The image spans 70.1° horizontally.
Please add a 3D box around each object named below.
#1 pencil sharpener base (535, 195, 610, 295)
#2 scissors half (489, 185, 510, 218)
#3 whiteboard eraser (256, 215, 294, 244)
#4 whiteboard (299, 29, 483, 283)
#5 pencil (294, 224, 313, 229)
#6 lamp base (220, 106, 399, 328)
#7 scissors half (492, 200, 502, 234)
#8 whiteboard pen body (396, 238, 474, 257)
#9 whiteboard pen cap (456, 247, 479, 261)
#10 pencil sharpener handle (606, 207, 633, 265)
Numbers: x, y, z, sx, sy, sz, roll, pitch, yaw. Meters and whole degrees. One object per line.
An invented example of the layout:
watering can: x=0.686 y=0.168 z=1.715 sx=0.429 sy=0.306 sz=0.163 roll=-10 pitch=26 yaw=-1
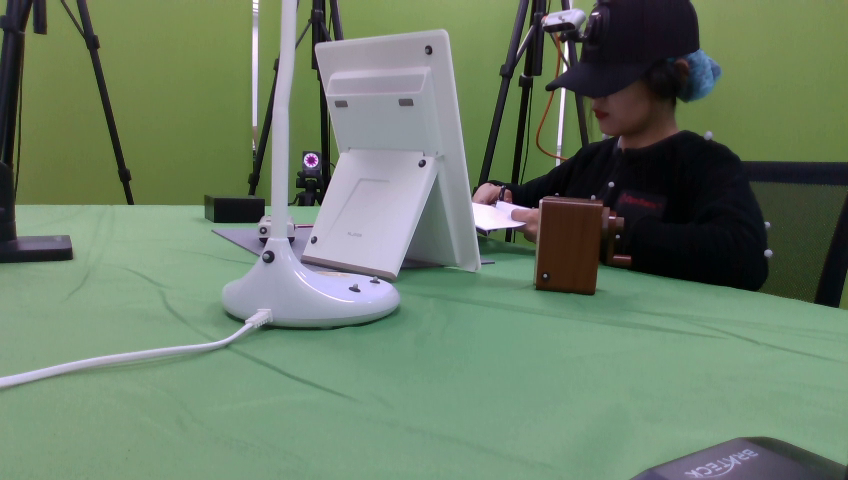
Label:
pencil sharpener base: x=0.172 y=0.005 z=0.695 sx=0.076 sy=0.107 sz=0.061 roll=5 pitch=7 yaw=16
scissors half: x=0.138 y=-0.069 z=1.120 sx=0.013 sy=0.040 sz=0.175 roll=12 pitch=23 yaw=14
whiteboard eraser: x=-0.232 y=-0.016 z=0.951 sx=0.056 sy=0.042 sz=0.112 roll=2 pitch=7 yaw=-12
whiteboard: x=-0.074 y=-0.082 z=0.741 sx=0.216 sy=0.305 sz=0.144 roll=9 pitch=30 yaw=38
pencil: x=-0.220 y=-0.028 z=1.210 sx=0.195 sy=0.012 sz=0.012 roll=-5 pitch=10 yaw=-34
lamp base: x=-0.101 y=-0.023 z=0.531 sx=0.160 sy=0.180 sz=0.179 roll=4 pitch=10 yaw=10
scissors half: x=0.132 y=-0.046 z=1.122 sx=0.013 sy=0.040 sz=0.175 roll=17 pitch=-13 yaw=13
whiteboard pen body: x=0.014 y=0.012 z=0.886 sx=0.140 sy=0.017 sz=0.017 roll=9 pitch=10 yaw=38
whiteboard pen cap: x=0.060 y=0.020 z=0.851 sx=0.033 sy=0.018 sz=0.018 roll=10 pitch=10 yaw=37
pencil sharpener handle: x=0.223 y=-0.004 z=0.683 sx=0.030 sy=0.068 sz=0.036 roll=5 pitch=21 yaw=16
